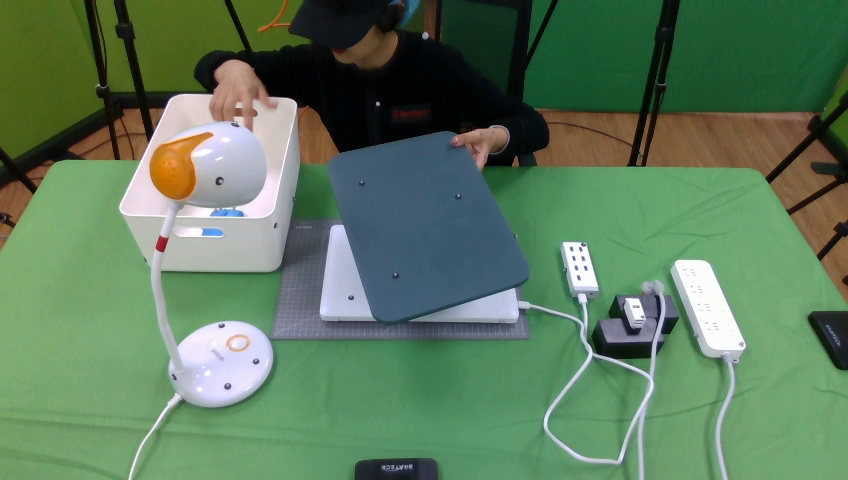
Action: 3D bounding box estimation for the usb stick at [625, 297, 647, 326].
[{"bbox_3d":[0.360,0.116,1.034,0.021,0.027,0.059,-2,44,-2],"label":"usb stick"}]

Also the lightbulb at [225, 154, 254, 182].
[{"bbox_3d":[-0.401,-0.161,1.301,0.059,0.060,0.107,-18,30,-20],"label":"lightbulb"}]

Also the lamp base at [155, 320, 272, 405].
[{"bbox_3d":[-0.330,0.149,0.918,0.160,0.181,0.179,26,52,20],"label":"lamp base"}]

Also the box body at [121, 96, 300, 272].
[{"bbox_3d":[-0.387,-0.112,1.182,0.254,0.161,0.361,1,46,-3],"label":"box body"}]

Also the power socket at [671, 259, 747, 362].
[{"bbox_3d":[0.516,0.119,1.108,0.072,0.033,0.225,1,46,-2],"label":"power socket"}]

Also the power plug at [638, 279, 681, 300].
[{"bbox_3d":[0.434,0.099,1.119,0.073,0.053,0.035,34,38,-15],"label":"power plug"}]

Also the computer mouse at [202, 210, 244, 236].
[{"bbox_3d":[-0.389,-0.022,1.171,0.063,0.041,0.116,-1,41,-2],"label":"computer mouse"}]

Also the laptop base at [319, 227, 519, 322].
[{"bbox_3d":[-0.009,0.063,1.138,0.354,0.023,0.234,1,42,-3],"label":"laptop base"}]

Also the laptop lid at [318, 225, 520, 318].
[{"bbox_3d":[-0.009,0.053,1.131,0.357,0.013,0.240,2,43,-2],"label":"laptop lid"}]

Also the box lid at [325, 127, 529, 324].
[{"bbox_3d":[-0.006,-0.041,1.021,0.263,0.015,0.369,-16,55,-9],"label":"box lid"}]

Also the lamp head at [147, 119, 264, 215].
[{"bbox_3d":[-0.276,-0.087,0.740,0.112,0.112,0.123,20,23,15],"label":"lamp head"}]

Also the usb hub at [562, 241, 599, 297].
[{"bbox_3d":[0.300,0.055,1.162,0.049,0.025,0.124,2,46,-3],"label":"usb hub"}]
